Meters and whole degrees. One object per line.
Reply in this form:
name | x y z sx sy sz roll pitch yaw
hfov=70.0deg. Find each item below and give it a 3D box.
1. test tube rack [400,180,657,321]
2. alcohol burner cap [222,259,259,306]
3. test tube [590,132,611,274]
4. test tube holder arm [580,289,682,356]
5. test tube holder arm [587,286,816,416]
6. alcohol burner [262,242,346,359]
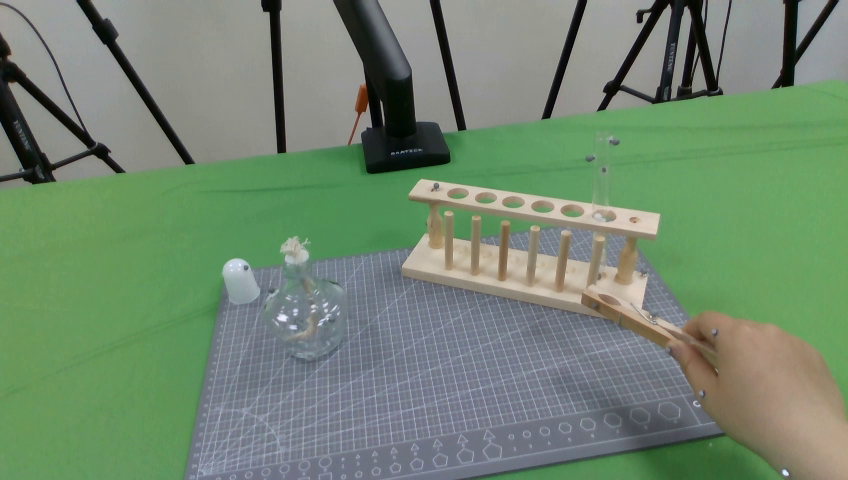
test tube rack | 0.096 0.008 0.604 0.241 0.086 0.066 10 39 20
alcohol burner cap | -0.192 0.041 0.627 0.034 0.048 0.033 -2 37 2
test tube | 0.163 -0.030 0.565 0.017 0.151 0.017 -6 34 5
test tube holder arm | 0.165 0.065 0.484 0.087 0.015 0.010 29 51 34
test tube holder arm | 0.201 0.080 0.462 0.177 0.015 0.013 28 51 34
alcohol burner | -0.110 0.050 0.545 0.078 0.120 0.077 -2 37 2
